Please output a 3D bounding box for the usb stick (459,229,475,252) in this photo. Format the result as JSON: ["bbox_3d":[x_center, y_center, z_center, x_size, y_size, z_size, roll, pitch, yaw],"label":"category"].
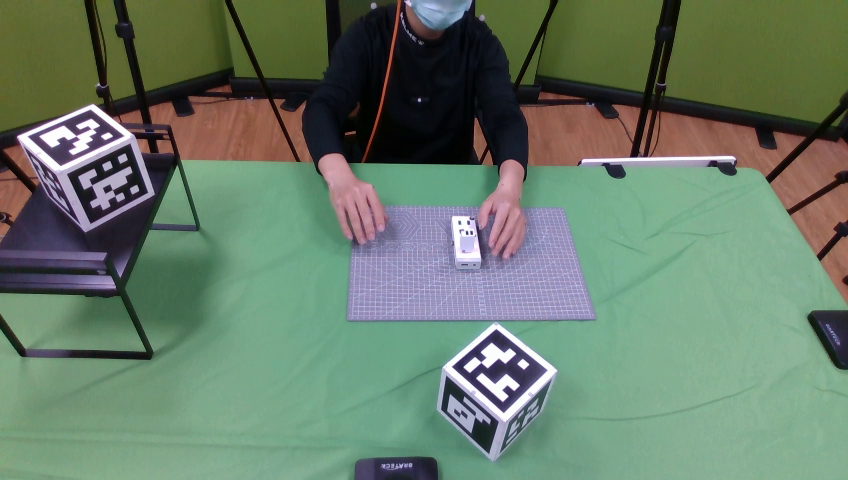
[{"bbox_3d":[0.081,0.006,1.151,0.027,0.059,0.021,0,45,-6],"label":"usb stick"}]

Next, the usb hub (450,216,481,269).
[{"bbox_3d":[0.082,0.004,1.194,0.049,0.025,0.124,0,46,-4],"label":"usb hub"}]
